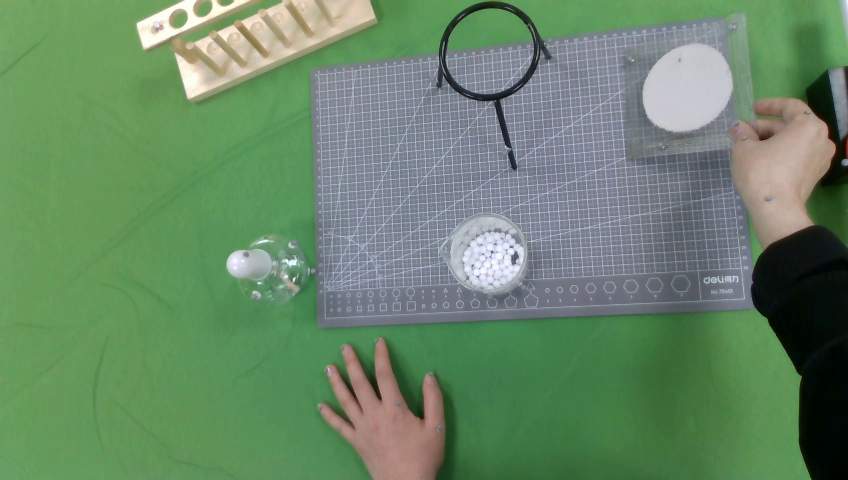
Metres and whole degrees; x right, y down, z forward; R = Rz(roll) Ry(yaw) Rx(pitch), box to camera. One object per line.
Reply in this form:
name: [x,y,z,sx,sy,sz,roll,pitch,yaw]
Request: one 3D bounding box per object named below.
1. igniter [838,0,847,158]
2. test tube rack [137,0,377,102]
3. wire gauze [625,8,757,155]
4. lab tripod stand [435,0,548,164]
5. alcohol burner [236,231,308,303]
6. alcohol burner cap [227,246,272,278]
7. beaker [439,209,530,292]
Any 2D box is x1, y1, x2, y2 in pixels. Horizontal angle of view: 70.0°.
igniter: [0.401,-0.111,0.535,0.057,0.025,0.275,-5,80,13]
test tube rack: [-0.184,-0.244,0.680,0.242,0.085,0.066,-21,79,8]
wire gauze: [0.254,-0.149,0.591,0.124,0.011,0.121,-3,88,45]
lab tripod stand: [0.070,-0.159,0.594,0.148,0.132,0.148,-1,84,9]
alcohol burner: [-0.167,0.026,0.632,0.078,0.119,0.077,-2,81,10]
alcohol burner cap: [-0.175,0.021,0.597,0.034,0.048,0.034,-1,87,10]
beaker: [0.063,0.015,0.593,0.084,0.101,0.074,2,83,12]
